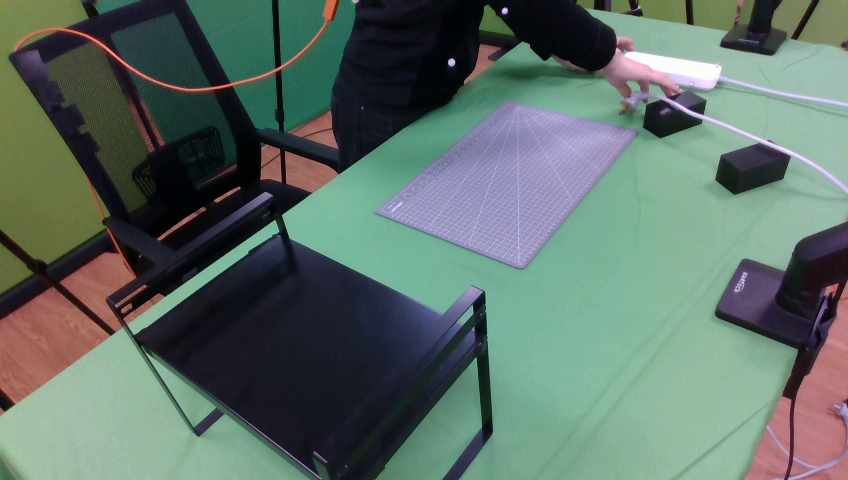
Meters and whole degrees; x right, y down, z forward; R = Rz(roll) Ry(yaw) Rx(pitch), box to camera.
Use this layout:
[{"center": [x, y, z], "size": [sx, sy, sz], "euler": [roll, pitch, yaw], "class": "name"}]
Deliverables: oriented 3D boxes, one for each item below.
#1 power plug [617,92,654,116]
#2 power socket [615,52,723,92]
[{"center": [0.415, -0.273, 1.205], "size": [0.052, 0.035, 0.072], "euler": [-54, 8, -1], "class": "power plug"}, {"center": [0.529, -0.367, 1.317], "size": [0.225, 0.033, 0.072], "euler": [21, 49, 28], "class": "power socket"}]
